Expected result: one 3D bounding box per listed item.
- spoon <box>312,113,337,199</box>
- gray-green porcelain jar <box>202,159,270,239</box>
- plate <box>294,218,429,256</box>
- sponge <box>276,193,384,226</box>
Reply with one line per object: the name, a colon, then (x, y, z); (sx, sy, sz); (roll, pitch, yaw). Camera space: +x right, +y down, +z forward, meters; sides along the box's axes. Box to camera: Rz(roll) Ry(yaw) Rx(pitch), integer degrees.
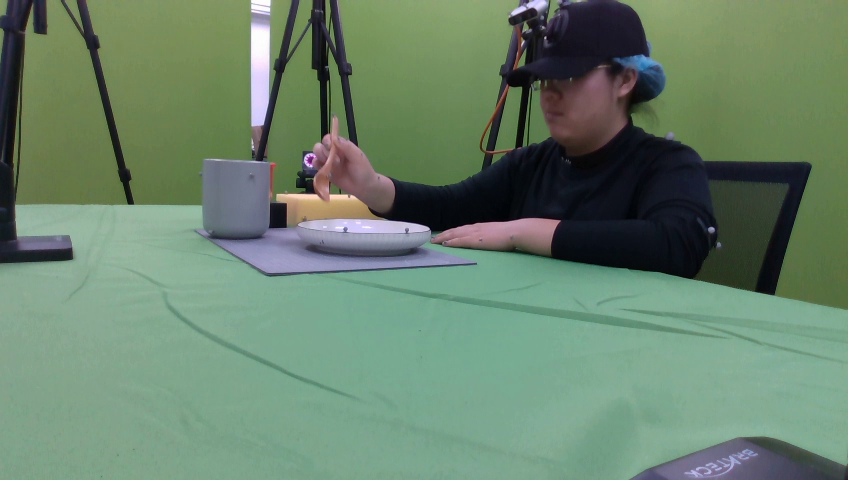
spoon: (-0.157, -0.143, 0.995); (0.021, 0.193, 0.042); (-16, -42, 26)
gray-green porcelain jar: (-0.310, -0.068, 0.999); (0.106, 0.126, 0.106); (3, 8, 0)
plate: (-0.096, -0.005, 0.936); (0.208, 0.039, 0.207); (3, 7, 0)
sponge: (-0.203, -0.067, 1.312); (0.208, 0.061, 0.117); (-3, 9, -35)
